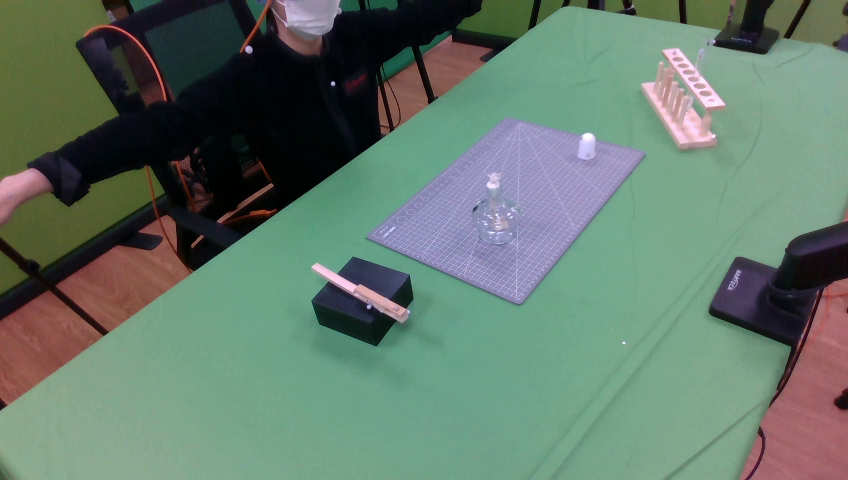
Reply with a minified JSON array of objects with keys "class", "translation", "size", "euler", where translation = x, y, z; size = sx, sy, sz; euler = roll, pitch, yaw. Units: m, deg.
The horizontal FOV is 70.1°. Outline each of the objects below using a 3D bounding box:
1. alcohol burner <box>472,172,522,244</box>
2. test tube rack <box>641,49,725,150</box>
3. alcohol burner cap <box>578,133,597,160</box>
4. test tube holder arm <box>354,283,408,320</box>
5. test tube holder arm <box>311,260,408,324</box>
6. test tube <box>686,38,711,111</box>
[{"class":"alcohol burner","translation":[0.112,-0.053,0.942],"size":[0.078,0.119,0.077],"euler":[-6,40,5]},{"class":"test tube rack","translation":[0.495,-0.279,1.175],"size":[0.067,0.085,0.241],"euler":[-5,41,3]},{"class":"alcohol burner cap","translation":[0.301,-0.174,1.111],"size":[0.034,0.048,0.033],"euler":[-5,41,4]},{"class":"test tube holder arm","translation":[-0.059,0.081,0.805],"size":[0.087,0.010,0.015],"euler":[26,52,32]},{"class":"test tube holder arm","translation":[-0.092,0.069,0.832],"size":[0.177,0.013,0.015],"euler":[26,52,32]},{"class":"test tube","translation":[0.508,-0.305,1.128],"size":[0.017,0.151,0.017],"euler":[-2,46,3]}]
